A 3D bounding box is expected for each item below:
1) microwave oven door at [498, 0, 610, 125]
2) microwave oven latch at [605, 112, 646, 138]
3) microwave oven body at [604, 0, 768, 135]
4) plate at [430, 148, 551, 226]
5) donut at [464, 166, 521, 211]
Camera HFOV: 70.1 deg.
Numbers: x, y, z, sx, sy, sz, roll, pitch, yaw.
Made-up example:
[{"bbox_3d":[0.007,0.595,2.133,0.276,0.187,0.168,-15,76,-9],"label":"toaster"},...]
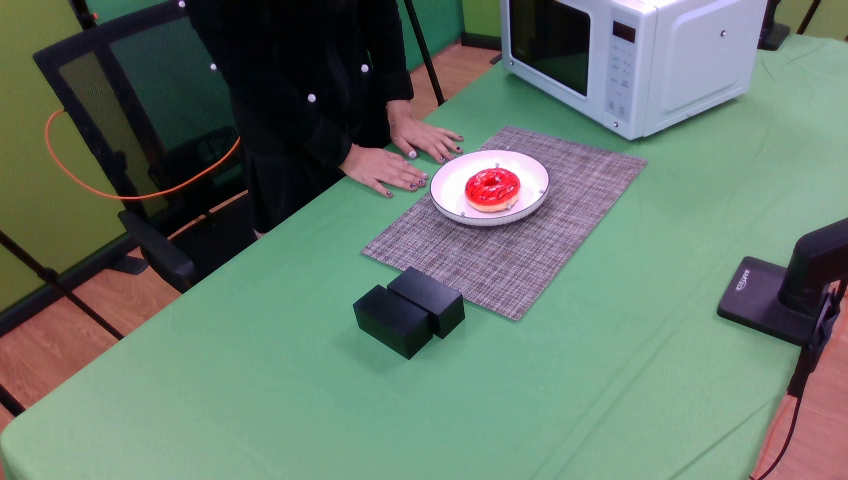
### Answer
[{"bbox_3d":[0.261,-0.410,1.219,0.039,0.245,0.352,-24,42,-17],"label":"microwave oven door"},{"bbox_3d":[0.375,-0.217,1.130,0.030,0.029,0.078,-24,42,-16],"label":"microwave oven latch"},{"bbox_3d":[0.410,-0.441,1.235,0.327,0.261,0.437,-25,42,-16],"label":"microwave oven body"},{"bbox_3d":[0.114,-0.089,1.049,0.209,0.038,0.208,-5,40,5],"label":"plate"},{"bbox_3d":[0.117,-0.089,1.031,0.099,0.048,0.098,-7,41,7],"label":"donut"}]
